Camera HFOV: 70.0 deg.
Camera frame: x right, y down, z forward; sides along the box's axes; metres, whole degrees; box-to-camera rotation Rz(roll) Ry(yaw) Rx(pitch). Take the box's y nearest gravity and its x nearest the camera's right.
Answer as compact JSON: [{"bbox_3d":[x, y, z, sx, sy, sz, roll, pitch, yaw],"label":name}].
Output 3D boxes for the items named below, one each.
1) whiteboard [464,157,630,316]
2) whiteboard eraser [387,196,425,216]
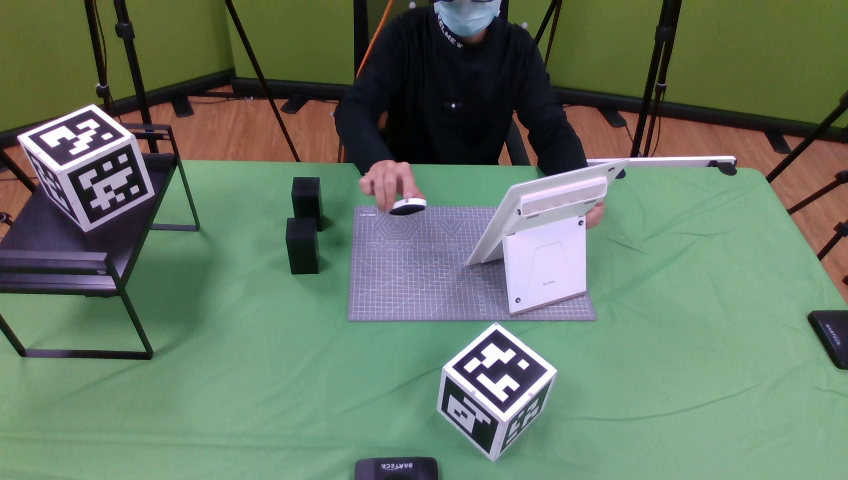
[{"bbox_3d":[0.224,0.015,1.042,0.217,0.306,0.143,-14,68,-17],"label":"whiteboard"},{"bbox_3d":[-0.032,-0.060,1.058,0.041,0.101,0.019,8,78,-26],"label":"whiteboard eraser"}]
